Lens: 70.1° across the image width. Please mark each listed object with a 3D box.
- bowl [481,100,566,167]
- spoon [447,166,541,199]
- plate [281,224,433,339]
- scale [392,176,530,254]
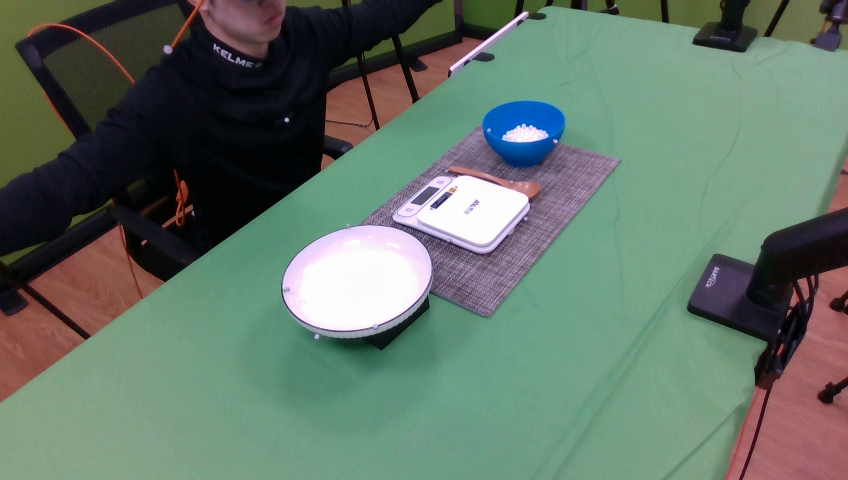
[{"bbox_3d":[0.183,-0.187,1.111,0.151,0.077,0.150,-4,41,4],"label":"bowl"},{"bbox_3d":[0.120,-0.107,1.071,0.192,0.022,0.041,23,64,31],"label":"spoon"},{"bbox_3d":[-0.089,0.057,0.825,0.209,0.038,0.208,-4,40,4],"label":"plate"},{"bbox_3d":[0.060,-0.050,1.006,0.199,0.032,0.149,22,48,30],"label":"scale"}]
